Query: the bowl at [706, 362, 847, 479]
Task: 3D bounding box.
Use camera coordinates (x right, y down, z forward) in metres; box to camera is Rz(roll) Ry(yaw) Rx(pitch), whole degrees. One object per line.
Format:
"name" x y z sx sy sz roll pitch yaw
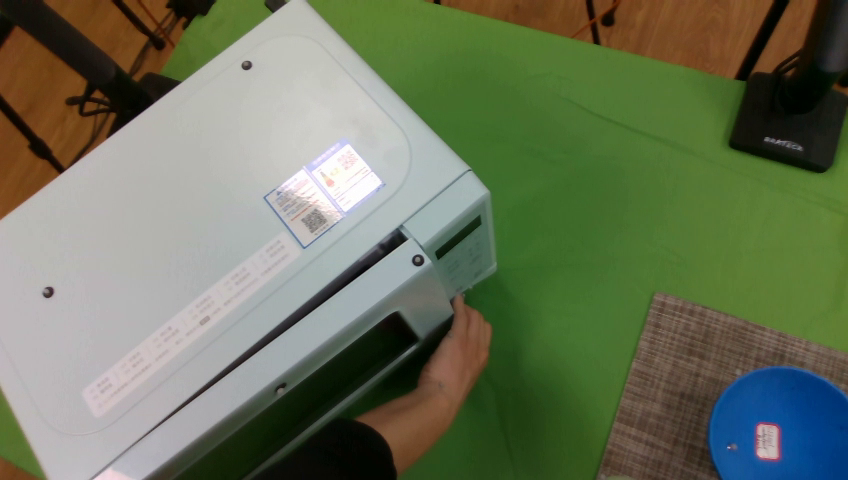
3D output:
"bowl" 0.359 0.205 0.619 0.151 0.077 0.150 -3 71 8

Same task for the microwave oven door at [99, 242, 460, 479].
"microwave oven door" -0.124 0.151 0.606 0.356 0.245 0.039 -37 69 -5

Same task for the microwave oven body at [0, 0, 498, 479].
"microwave oven body" -0.189 0.018 0.666 0.441 0.262 0.323 -40 71 -5

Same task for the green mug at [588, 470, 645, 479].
"green mug" 0.190 0.265 0.525 0.092 0.105 0.124 -38 75 -8

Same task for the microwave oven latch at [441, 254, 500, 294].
"microwave oven latch" 0.053 0.036 0.727 0.079 0.030 0.030 -31 70 -2
